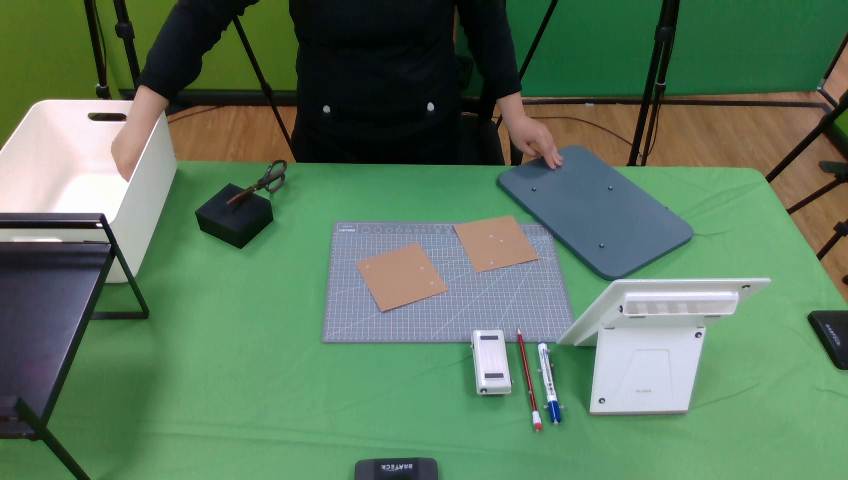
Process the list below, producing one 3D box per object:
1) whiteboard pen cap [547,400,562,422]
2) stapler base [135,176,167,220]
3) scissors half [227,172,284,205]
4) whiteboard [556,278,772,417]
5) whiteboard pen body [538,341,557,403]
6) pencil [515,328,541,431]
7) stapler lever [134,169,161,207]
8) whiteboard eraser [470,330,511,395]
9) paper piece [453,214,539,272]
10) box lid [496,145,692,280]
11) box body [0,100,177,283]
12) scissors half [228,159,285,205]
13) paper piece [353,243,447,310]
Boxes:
[{"bbox_3d":[0.205,0.269,0.956,0.018,0.018,0.033,-1,47,-5],"label":"whiteboard pen cap"},{"bbox_3d":[-0.558,-0.093,1.236,0.041,0.024,0.129,1,43,-10],"label":"stapler base"},{"bbox_3d":[-0.339,-0.101,1.230,0.013,0.040,0.175,20,28,17],"label":"scissors half"},{"bbox_3d":[0.347,0.174,0.903,0.217,0.306,0.143,1,65,-4],"label":"whiteboard"},{"bbox_3d":[0.205,0.228,0.997,0.017,0.017,0.140,1,46,-3],"label":"whiteboard pen body"},{"bbox_3d":[0.169,0.224,1.002,0.012,0.012,0.192,-2,46,-6],"label":"pencil"},{"bbox_3d":[-0.557,-0.112,1.219,0.027,0.040,0.117,0,43,-10],"label":"stapler lever"},{"bbox_3d":[0.110,0.202,0.998,0.055,0.042,0.112,1,46,-5],"label":"whiteboard eraser"},{"bbox_3d":[0.142,0.003,1.213,0.135,0.004,0.135,-12,47,-14],"label":"paper piece"},{"bbox_3d":[0.360,-0.073,1.304,0.263,0.015,0.369,-24,51,-25],"label":"box lid"},{"bbox_3d":[-0.639,-0.095,1.140,0.254,0.161,0.361,1,46,-4],"label":"box body"},{"bbox_3d":[-0.336,-0.117,1.218,0.013,0.040,0.174,24,46,14],"label":"scissors half"},{"bbox_3d":[-0.046,0.066,1.137,0.136,0.009,0.137,-13,46,-23],"label":"paper piece"}]
